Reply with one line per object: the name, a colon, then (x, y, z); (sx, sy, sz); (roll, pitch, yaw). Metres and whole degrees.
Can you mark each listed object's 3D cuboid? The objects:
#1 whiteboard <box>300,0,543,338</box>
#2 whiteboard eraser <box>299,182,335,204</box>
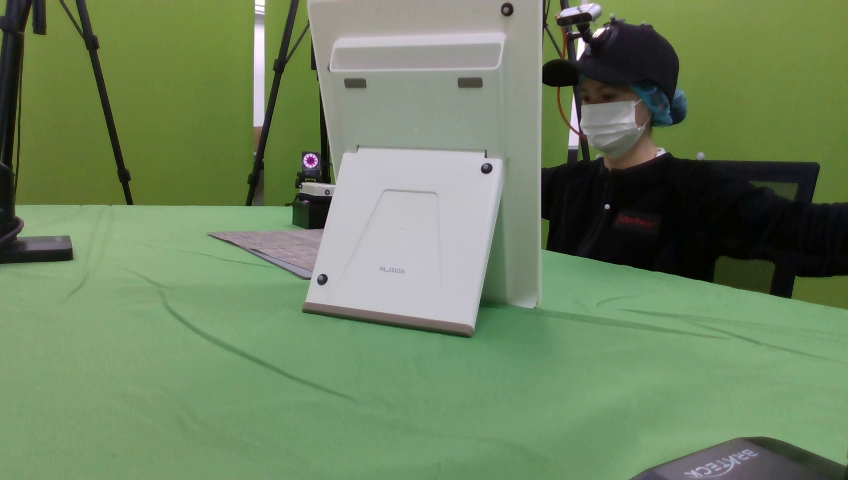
whiteboard: (-0.020, -0.050, 0.523); (0.216, 0.305, 0.144); (6, 27, 22)
whiteboard eraser: (-0.214, -0.097, 1.231); (0.056, 0.042, 0.112); (-3, 9, -27)
